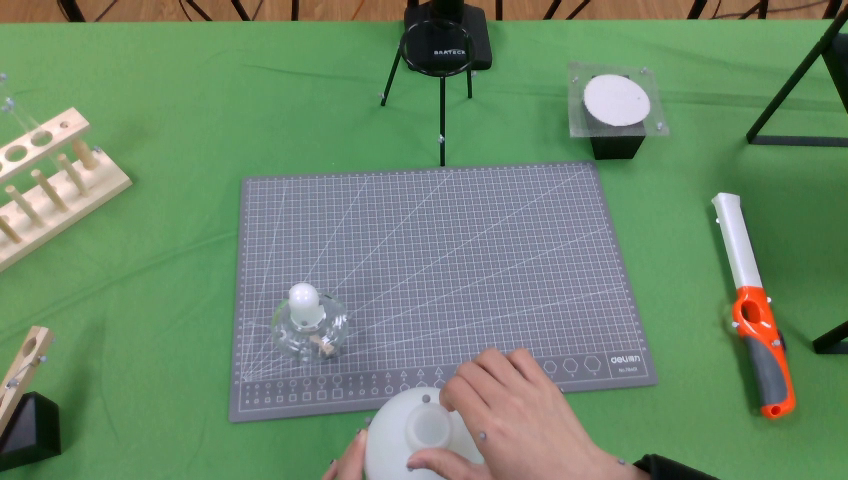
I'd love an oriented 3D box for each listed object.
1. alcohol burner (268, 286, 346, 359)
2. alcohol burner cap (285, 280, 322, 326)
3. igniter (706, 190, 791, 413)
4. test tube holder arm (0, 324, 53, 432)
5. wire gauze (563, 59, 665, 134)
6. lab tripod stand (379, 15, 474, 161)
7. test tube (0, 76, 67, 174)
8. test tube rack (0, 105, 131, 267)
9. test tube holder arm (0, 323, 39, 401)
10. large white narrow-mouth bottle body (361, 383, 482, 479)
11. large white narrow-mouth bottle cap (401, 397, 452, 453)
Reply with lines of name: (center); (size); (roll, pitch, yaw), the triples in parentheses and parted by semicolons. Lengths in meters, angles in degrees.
alcohol burner: (-0.118, 0.075, 0.605); (0.078, 0.120, 0.077); (3, 59, -4)
alcohol burner cap: (-0.116, 0.057, 0.573); (0.034, 0.048, 0.033); (1, 56, -1)
igniter: (0.372, 0.061, 0.700); (0.057, 0.025, 0.274); (7, 61, -12)
test tube holder arm: (-0.383, 0.159, 0.543); (0.013, 0.015, 0.177); (8, 61, 7)
wire gauze: (0.241, -0.184, 0.780); (0.121, 0.011, 0.124); (3, 61, -2)
lab tripod stand: (0.012, -0.194, 0.754); (0.148, 0.132, 0.147); (3, 62, -4)
test tube: (-0.421, -0.119, 0.651); (0.017, 0.151, 0.017); (0, 59, 0)
test tube rack: (-0.459, -0.038, 0.661); (0.066, 0.086, 0.242); (41, 66, 17)
test tube holder arm: (-0.381, 0.120, 0.565); (0.010, 0.015, 0.087); (7, 61, 6)
large white narrow-mouth bottle body: (-0.003, 0.178, 0.514); (0.102, 0.196, 0.101); (2, 61, -2)
large white narrow-mouth bottle cap: (0.002, 0.134, 0.440); (0.038, 0.024, 0.037); (2, 61, -3)
